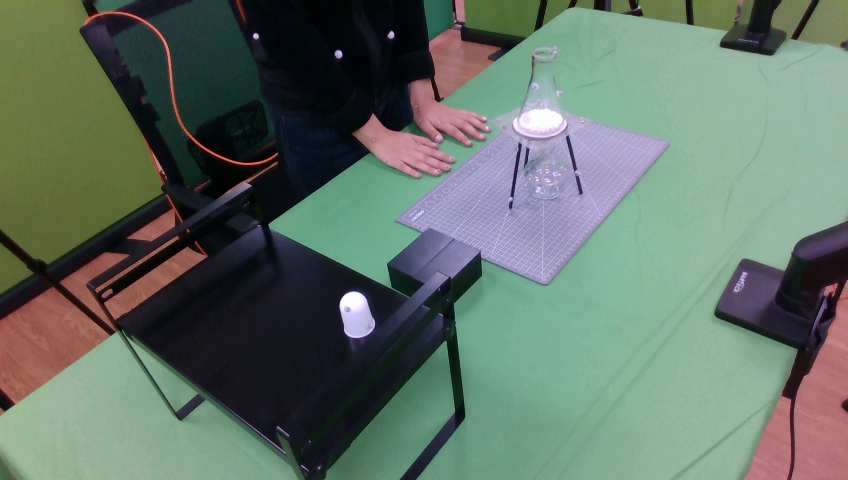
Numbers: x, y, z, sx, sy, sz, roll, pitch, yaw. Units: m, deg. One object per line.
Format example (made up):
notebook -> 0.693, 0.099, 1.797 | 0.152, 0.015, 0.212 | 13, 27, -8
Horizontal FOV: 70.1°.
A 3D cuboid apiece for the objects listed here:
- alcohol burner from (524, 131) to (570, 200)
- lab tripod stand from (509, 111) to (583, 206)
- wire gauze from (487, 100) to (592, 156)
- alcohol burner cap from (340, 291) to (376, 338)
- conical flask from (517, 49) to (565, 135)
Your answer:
alcohol burner -> 0.208, -0.129, 1.021 | 0.078, 0.119, 0.077 | -5, 38, 4
lab tripod stand -> 0.198, -0.139, 1.019 | 0.148, 0.132, 0.147 | -3, 39, 3
wire gauze -> 0.185, -0.187, 0.974 | 0.122, 0.011, 0.124 | -28, 47, -22
alcohol burner cap -> -0.067, 0.072, 0.605 | 0.034, 0.048, 0.033 | -5, 42, 5
conical flask -> 0.183, -0.231, 0.936 | 0.075, 0.122, 0.075 | -4, 40, 4
